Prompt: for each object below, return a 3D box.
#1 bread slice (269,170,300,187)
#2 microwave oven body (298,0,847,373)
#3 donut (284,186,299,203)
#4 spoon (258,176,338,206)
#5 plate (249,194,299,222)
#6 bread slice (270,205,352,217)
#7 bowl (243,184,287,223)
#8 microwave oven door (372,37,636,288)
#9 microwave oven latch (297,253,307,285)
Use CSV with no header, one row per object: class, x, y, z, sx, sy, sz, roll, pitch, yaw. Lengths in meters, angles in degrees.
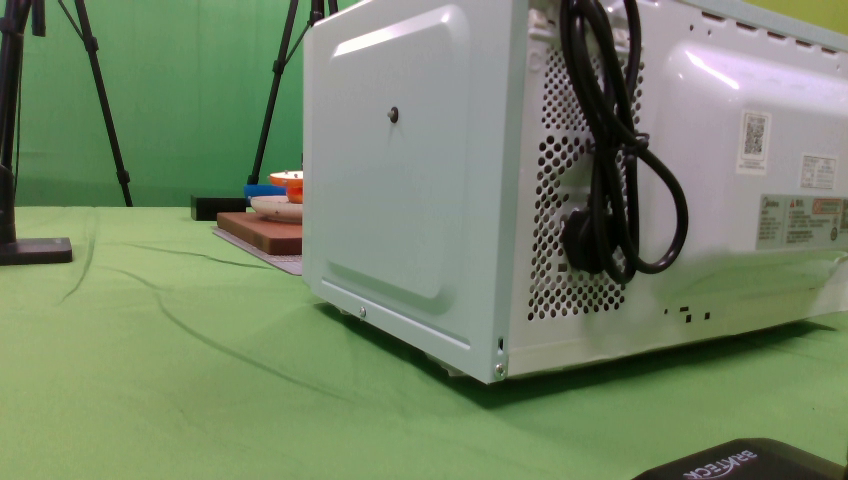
bread slice,-0.213,-0.115,1.112,0.106,0.018,0.135,9,16,38
microwave oven body,0.151,-0.055,0.543,0.444,0.260,0.324,-1,7,-33
donut,-0.210,-0.087,1.124,0.099,0.048,0.099,3,0,0
spoon,-0.279,-0.112,1.356,0.194,0.021,0.041,-27,19,-27
plate,-0.217,-0.058,1.122,0.208,0.039,0.207,3,8,0
bread slice,-0.213,-0.054,1.116,0.104,0.019,0.132,6,5,41
bowl,-0.321,-0.081,1.334,0.151,0.077,0.151,3,7,0
microwave oven door,0.109,-0.080,0.686,0.358,0.243,0.039,-2,9,-33
microwave oven latch,-0.082,0.027,0.583,0.079,0.029,0.030,-1,8,-33
